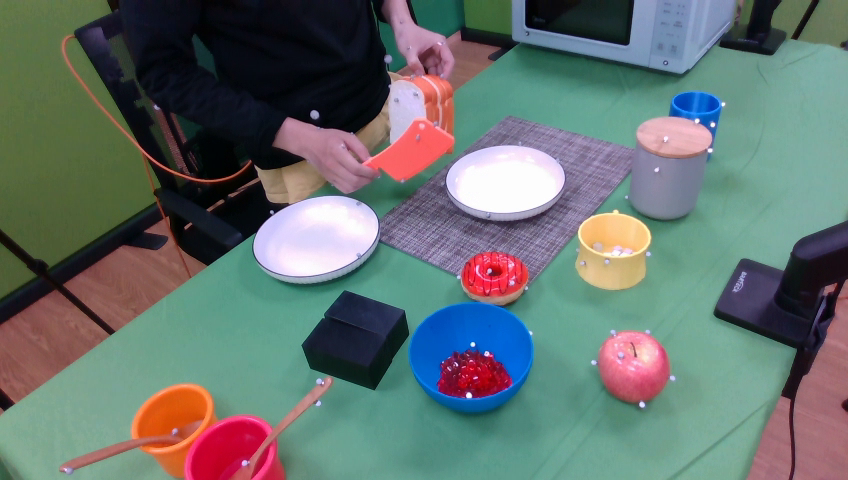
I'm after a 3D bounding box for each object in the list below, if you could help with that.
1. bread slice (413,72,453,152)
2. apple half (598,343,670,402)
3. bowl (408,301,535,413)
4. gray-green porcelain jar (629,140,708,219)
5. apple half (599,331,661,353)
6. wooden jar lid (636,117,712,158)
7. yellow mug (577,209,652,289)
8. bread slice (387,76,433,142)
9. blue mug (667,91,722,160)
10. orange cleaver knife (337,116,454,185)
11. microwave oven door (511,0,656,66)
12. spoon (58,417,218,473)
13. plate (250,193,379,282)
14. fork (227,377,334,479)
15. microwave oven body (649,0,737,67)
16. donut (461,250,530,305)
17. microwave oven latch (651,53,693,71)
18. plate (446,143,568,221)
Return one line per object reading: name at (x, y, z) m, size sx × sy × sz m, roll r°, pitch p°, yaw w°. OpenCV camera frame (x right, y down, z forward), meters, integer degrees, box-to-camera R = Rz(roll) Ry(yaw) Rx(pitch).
bread slice at (0.010, -0.230, 1.081) m, size 0.106 × 0.134 × 0.018 m, roll 29°, pitch 37°, yaw 34°
apple half at (0.247, 0.161, 0.710) m, size 0.081 × 0.075 × 0.053 m, roll 2°, pitch 47°, yaw 5°
bowl at (0.059, 0.156, 0.739) m, size 0.151 × 0.077 × 0.150 m, roll -4°, pitch 40°, yaw 4°
gray-green porcelain jar at (0.383, -0.105, 0.958) m, size 0.106 × 0.127 × 0.105 m, roll -4°, pitch 41°, yaw 4°
apple half at (0.249, 0.134, 0.738) m, size 0.081 × 0.081 × 0.032 m, roll -2°, pitch 46°, yaw 7°
wooden jar lid at (0.377, -0.151, 0.917) m, size 0.108 × 0.021 × 0.108 m, roll -2°, pitch 41°, yaw 3°
yellow mug at (0.279, 0.004, 0.893) m, size 0.099 × 0.064 × 0.130 m, roll 5°, pitch 41°, yaw 15°
bread slice at (-0.026, -0.218, 1.050) m, size 0.104 × 0.132 × 0.019 m, roll 25°, pitch 39°, yaw 38°
blue mug at (0.474, -0.207, 1.079) m, size 0.082 × 0.106 × 0.116 m, roll 4°, pitch 42°, yaw 13°
orange cleaver knife at (-0.048, -0.123, 0.938) m, size 0.210 × 0.078 × 0.012 m, roll -27°, pitch 35°, yaw 34°
microwave oven door at (0.351, -0.540, 1.349) m, size 0.353 × 0.245 × 0.039 m, roll 24°, pitch 50°, yaw 31°
spoon at (-0.304, 0.221, 0.661) m, size 0.041 × 0.195 × 0.021 m, roll 19°, pitch 92°, yaw 27°
plate at (-0.174, -0.001, 0.984) m, size 0.209 × 0.038 × 0.208 m, roll -3°, pitch 40°, yaw 3°
fork at (-0.163, 0.216, 0.647) m, size 0.207 × 0.019 × 0.028 m, roll -49°, pitch 41°, yaw 16°
microwave oven body at (0.475, -0.602, 1.411) m, size 0.438 × 0.261 × 0.327 m, roll 23°, pitch 50°, yaw 32°
donut at (0.103, 0.053, 0.872) m, size 0.099 × 0.048 × 0.098 m, roll -5°, pitch 40°, yaw 4°
microwave oven latch at (0.532, -0.386, 1.301) m, size 0.078 × 0.029 × 0.030 m, roll 27°, pitch 52°, yaw 34°
plate at (0.142, -0.097, 1.045) m, size 0.207 × 0.039 × 0.206 m, roll -4°, pitch 40°, yaw 4°
